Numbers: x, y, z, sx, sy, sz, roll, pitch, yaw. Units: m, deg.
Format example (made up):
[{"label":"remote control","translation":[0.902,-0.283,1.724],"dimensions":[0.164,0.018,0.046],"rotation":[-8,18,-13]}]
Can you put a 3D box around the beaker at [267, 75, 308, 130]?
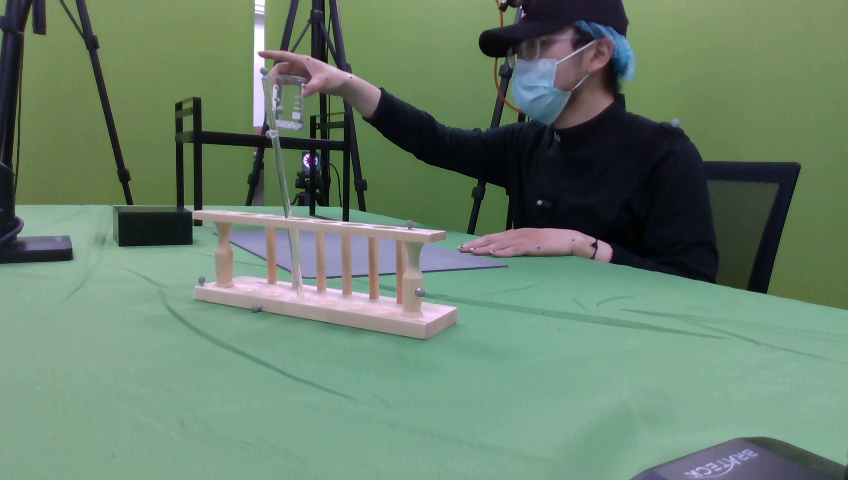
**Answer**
[{"label":"beaker","translation":[-0.269,-0.268,1.180],"dimensions":[0.074,0.100,0.084],"rotation":[12,12,24]}]

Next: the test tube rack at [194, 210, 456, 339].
[{"label":"test tube rack","translation":[-0.093,0.023,0.546],"dimensions":[0.241,0.085,0.067],"rotation":[6,8,25]}]

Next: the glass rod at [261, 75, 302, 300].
[{"label":"glass rod","translation":[-0.124,-0.043,0.531],"dimensions":[0.008,0.199,0.008],"rotation":[-7,8,1]}]
